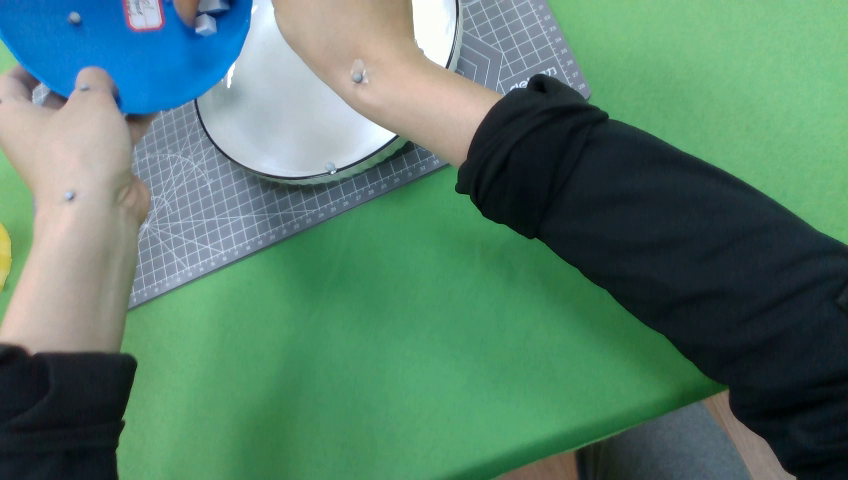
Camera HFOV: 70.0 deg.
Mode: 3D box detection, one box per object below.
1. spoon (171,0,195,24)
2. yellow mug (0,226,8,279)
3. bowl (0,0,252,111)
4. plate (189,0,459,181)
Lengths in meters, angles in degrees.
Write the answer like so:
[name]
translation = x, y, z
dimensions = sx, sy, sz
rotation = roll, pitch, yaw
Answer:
[spoon]
translation = -0.114, -0.169, 0.330
dimensions = 0.193, 0.022, 0.041
rotation = -10, 92, 54
[yellow mug]
translation = -0.410, 0.032, 0.491
dimensions = 0.099, 0.064, 0.130
rotation = -1, 75, 18
[bowl]
translation = -0.191, -0.158, 0.391
dimensions = 0.152, 0.076, 0.152
rotation = -3, 101, -15
[plate]
translation = -0.072, -0.136, 0.439
dimensions = 0.208, 0.038, 0.208
rotation = -5, 73, 17
